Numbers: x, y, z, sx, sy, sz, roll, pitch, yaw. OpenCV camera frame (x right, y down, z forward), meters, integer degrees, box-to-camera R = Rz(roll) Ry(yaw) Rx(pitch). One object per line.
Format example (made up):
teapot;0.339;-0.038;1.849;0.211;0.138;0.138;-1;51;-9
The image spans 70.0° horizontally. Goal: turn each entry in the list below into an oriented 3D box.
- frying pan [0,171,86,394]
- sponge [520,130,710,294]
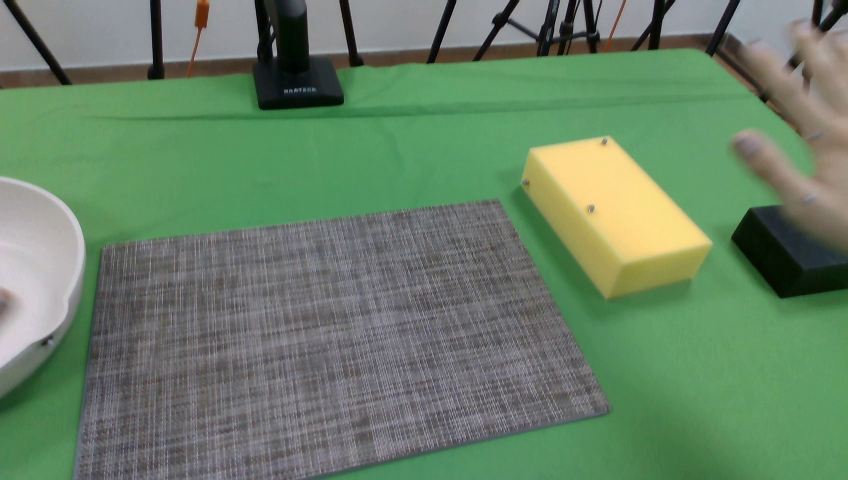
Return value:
frying pan;-0.471;0.111;0.447;0.306;0.103;0.484;13;37;6
sponge;0.216;-0.041;0.716;0.118;0.061;0.204;-12;49;-19
